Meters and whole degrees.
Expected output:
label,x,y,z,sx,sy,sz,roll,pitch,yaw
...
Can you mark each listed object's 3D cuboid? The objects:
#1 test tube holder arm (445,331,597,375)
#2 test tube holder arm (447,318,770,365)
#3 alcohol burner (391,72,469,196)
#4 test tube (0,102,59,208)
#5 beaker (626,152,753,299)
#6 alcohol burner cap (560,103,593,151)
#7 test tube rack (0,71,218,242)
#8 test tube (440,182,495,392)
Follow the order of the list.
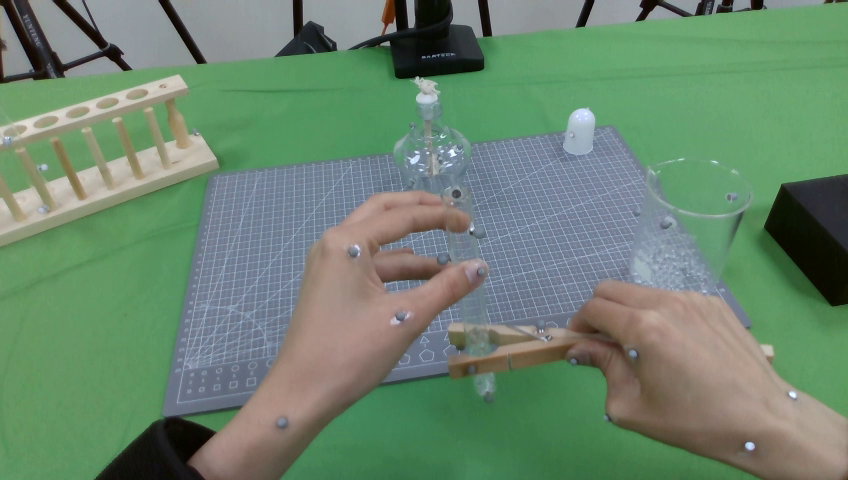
label,x,y,z,sx,sy,sz,roll,pitch,yaw
test tube holder arm,0.057,0.064,0.354,0.088,0.015,0.010,-11,39,-1
test tube holder arm,0.101,0.058,0.351,0.178,0.015,0.013,1,42,14
alcohol burner,0.005,-0.104,0.583,0.078,0.120,0.077,-3,42,3
test tube,-0.376,-0.091,0.554,0.017,0.152,0.017,-3,42,3
beaker,0.201,-0.010,0.480,0.074,0.101,0.083,-29,48,-24
alcohol burner cap,0.163,-0.123,0.645,0.034,0.048,0.033,-2,43,2
test tube rack,-0.346,-0.085,0.610,0.242,0.086,0.066,-25,47,-21
test tube,0.027,0.034,0.344,0.017,0.151,0.017,-7,35,6
